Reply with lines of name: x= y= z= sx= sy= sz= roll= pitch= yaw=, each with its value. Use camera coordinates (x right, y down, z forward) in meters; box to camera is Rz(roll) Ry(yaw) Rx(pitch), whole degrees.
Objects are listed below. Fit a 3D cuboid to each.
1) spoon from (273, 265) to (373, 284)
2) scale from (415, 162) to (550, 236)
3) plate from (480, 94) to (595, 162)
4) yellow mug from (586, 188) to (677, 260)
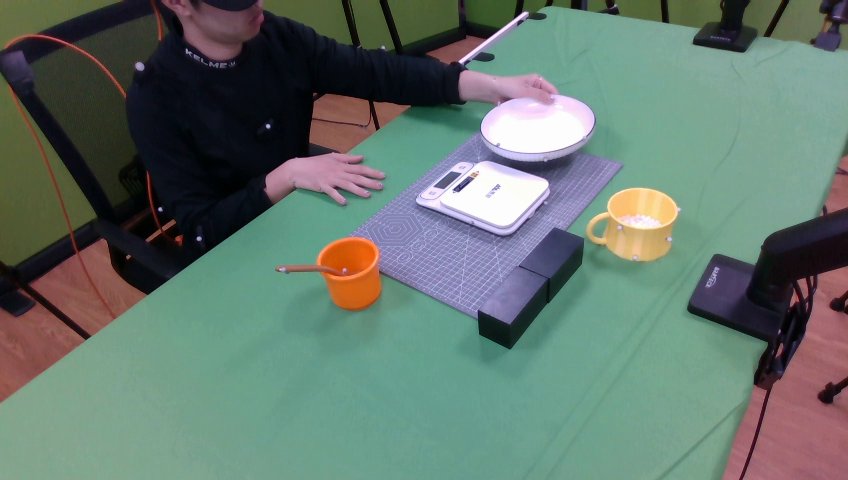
spoon: x=-0.136 y=0.045 z=0.839 sx=0.041 sy=0.195 sz=0.021 roll=18 pitch=91 yaw=33
scale: x=0.099 y=-0.079 z=1.035 sx=0.199 sy=0.032 sz=0.149 roll=23 pitch=48 yaw=31
plate: x=0.207 y=-0.202 z=1.108 sx=0.209 sy=0.038 sz=0.208 roll=-6 pitch=40 yaw=6
yellow mug: x=0.311 y=-0.022 z=0.916 sx=0.131 sy=0.064 sz=0.099 roll=-8 pitch=40 yaw=0
